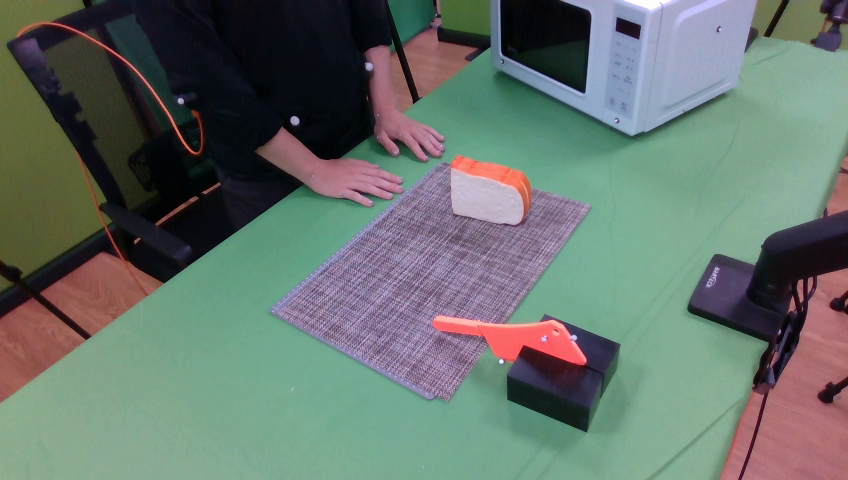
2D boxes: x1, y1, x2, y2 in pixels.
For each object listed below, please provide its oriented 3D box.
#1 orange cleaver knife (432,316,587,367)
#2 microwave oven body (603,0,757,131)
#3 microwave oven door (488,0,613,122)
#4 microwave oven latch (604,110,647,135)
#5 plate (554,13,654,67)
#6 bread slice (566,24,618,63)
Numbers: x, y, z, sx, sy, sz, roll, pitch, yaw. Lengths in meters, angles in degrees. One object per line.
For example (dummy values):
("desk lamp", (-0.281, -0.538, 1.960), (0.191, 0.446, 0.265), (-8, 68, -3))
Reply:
("orange cleaver knife", (0.101, 0.127, 0.761), (0.210, 0.077, 0.012), (-1, 34, 40))
("microwave oven body", (0.396, -0.448, 1.248), (0.327, 0.261, 0.437), (-27, 44, -21))
("microwave oven door", (0.250, -0.412, 1.219), (0.039, 0.245, 0.352), (-27, 44, -21))
("microwave oven latch", (0.378, -0.225, 1.139), (0.030, 0.029, 0.078), (-27, 43, -20))
("plate", (0.386, -0.428, 1.307), (0.207, 0.039, 0.206), (-4, 44, 4))
("bread slice", (0.362, -0.429, 1.322), (0.107, 0.018, 0.134), (1, 51, 9))
